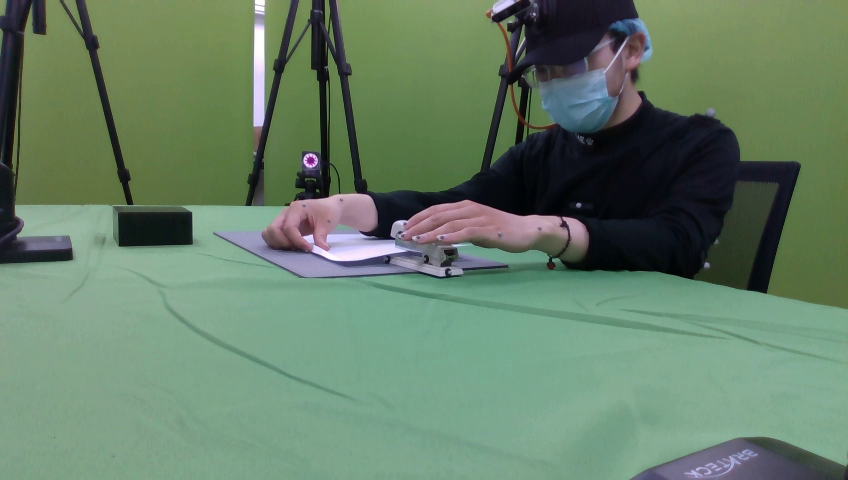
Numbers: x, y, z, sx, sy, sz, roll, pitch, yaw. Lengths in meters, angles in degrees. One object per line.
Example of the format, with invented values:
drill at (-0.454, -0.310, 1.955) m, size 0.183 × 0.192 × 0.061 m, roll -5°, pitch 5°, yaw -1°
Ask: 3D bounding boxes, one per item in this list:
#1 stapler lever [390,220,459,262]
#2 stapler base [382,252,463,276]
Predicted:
stapler lever at (-0.002, 0.000, 0.785) m, size 0.027 × 0.040 × 0.117 m, roll -5°, pitch 12°, yaw -39°
stapler base at (-0.005, 0.024, 0.790) m, size 0.041 × 0.024 × 0.130 m, roll -5°, pitch 13°, yaw -39°
